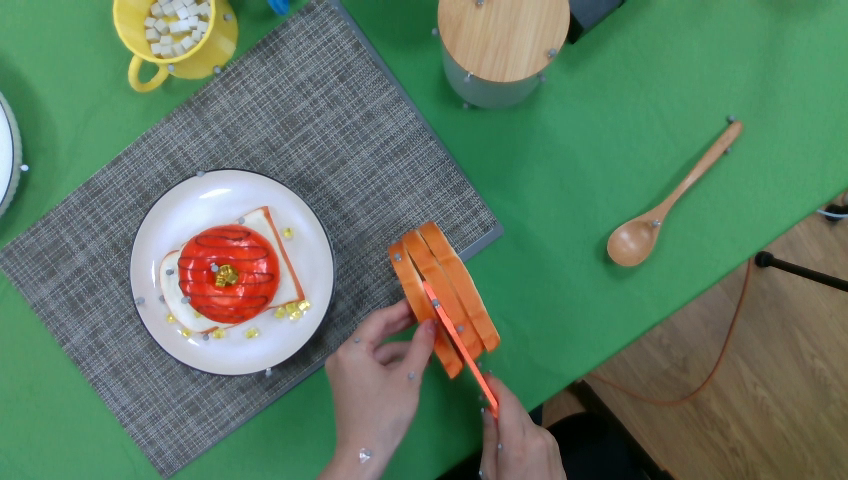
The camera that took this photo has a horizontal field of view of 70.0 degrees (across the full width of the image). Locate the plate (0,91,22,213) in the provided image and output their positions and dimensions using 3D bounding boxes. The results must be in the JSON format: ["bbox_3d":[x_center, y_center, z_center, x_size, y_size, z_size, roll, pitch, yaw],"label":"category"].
[{"bbox_3d":[-0.517,-0.093,0.631,0.207,0.039,0.207,0,92,2],"label":"plate"}]

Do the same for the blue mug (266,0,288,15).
[{"bbox_3d":[-0.156,-0.276,0.579,0.082,0.106,0.116,-16,91,3],"label":"blue mug"}]

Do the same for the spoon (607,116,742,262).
[{"bbox_3d":[0.258,-0.053,0.615,0.041,0.022,0.194,43,93,19],"label":"spoon"}]

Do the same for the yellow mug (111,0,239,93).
[{"bbox_3d":[-0.254,-0.205,0.604,0.100,0.064,0.131,32,94,1],"label":"yellow mug"}]

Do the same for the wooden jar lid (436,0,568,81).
[{"bbox_3d":[0.064,-0.185,0.502,0.108,0.020,0.108,0,93,-1],"label":"wooden jar lid"}]

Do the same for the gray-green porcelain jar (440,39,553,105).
[{"bbox_3d":[0.067,-0.186,0.565,0.106,0.126,0.106,0,91,2],"label":"gray-green porcelain jar"}]

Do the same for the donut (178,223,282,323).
[{"bbox_3d":[-0.189,0.032,0.593,0.099,0.048,0.099,0,92,-2],"label":"donut"}]

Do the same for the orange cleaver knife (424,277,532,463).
[{"bbox_3d":[0.052,0.125,0.571,0.012,0.076,0.213,-28,115,0],"label":"orange cleaver knife"}]

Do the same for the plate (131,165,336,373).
[{"bbox_3d":[-0.190,0.030,0.621,0.209,0.038,0.209,0,92,2],"label":"plate"}]

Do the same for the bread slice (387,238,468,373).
[{"bbox_3d":[0.004,0.060,0.588,0.018,0.107,0.134,-29,87,0],"label":"bread slice"}]

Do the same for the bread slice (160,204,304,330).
[{"bbox_3d":[-0.202,0.036,0.625,0.131,0.019,0.105,-25,90,-1],"label":"bread slice"}]
